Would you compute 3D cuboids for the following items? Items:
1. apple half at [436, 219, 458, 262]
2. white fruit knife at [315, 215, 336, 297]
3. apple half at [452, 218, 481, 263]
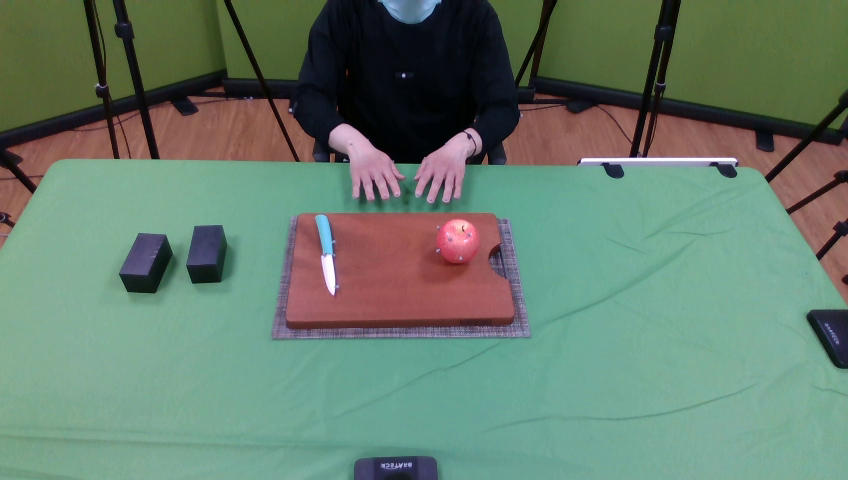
[{"bbox_3d":[0.039,0.005,1.116,0.033,0.081,0.080,-2,46,-11],"label":"apple half"},{"bbox_3d":[-0.180,0.025,1.124,0.027,0.016,0.206,-27,48,12],"label":"white fruit knife"},{"bbox_3d":[0.077,0.003,1.122,0.053,0.075,0.080,-1,42,-11],"label":"apple half"}]
